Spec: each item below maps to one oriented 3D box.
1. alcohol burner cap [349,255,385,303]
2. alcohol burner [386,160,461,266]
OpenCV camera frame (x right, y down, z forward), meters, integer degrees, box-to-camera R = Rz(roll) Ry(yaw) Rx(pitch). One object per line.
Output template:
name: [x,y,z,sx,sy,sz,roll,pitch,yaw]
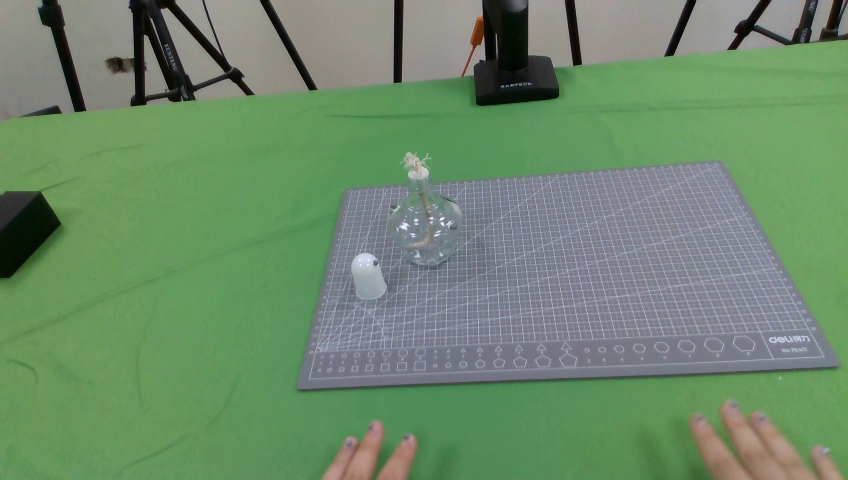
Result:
alcohol burner cap: [-0.058,0.035,0.598,0.034,0.048,0.033,-5,41,4]
alcohol burner: [-0.002,-0.031,0.610,0.078,0.120,0.077,-3,41,3]
